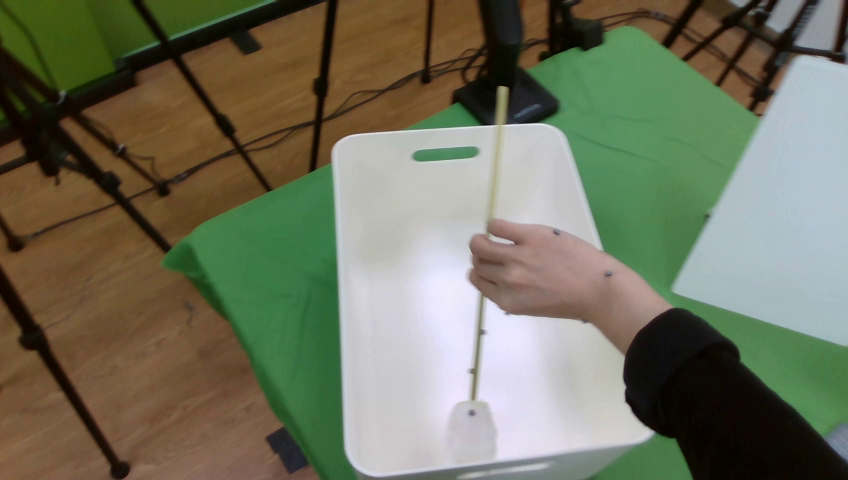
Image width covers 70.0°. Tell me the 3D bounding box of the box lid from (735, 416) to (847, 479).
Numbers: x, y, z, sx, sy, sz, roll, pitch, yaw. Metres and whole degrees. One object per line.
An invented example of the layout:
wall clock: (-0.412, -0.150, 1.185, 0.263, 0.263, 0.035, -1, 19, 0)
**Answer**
box lid: (0.382, 0.366, 0.540, 0.262, 0.015, 0.370, 29, 60, 15)

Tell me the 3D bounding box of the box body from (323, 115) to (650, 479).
box body: (0.038, 0.059, 0.636, 0.254, 0.161, 0.360, -6, 57, -7)

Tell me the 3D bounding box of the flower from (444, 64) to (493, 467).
flower: (0.048, 0.010, 0.532, 0.038, 0.044, 0.360, 14, 74, -39)

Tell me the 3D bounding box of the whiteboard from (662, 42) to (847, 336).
whiteboard: (0.440, -0.072, 0.698, 0.216, 0.308, 0.143, 18, 38, 9)
